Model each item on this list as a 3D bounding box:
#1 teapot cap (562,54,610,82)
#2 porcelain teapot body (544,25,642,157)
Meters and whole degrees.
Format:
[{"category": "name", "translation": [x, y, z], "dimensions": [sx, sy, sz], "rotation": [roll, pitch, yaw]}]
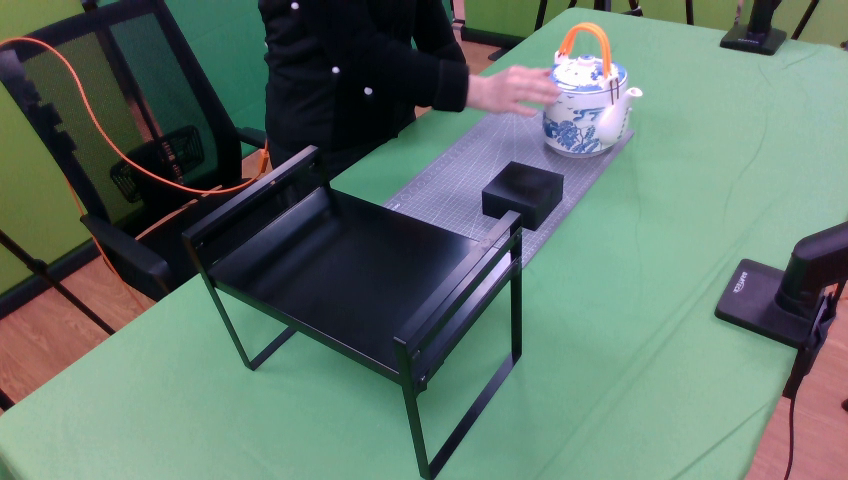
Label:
[{"category": "teapot cap", "translation": [0.287, -0.302, 1.064], "dimensions": [0.085, 0.044, 0.085], "rotation": [-1, 41, 1]}, {"category": "porcelain teapot body", "translation": [0.306, -0.258, 1.071], "dimensions": [0.146, 0.226, 0.203], "rotation": [-26, 44, -19]}]
